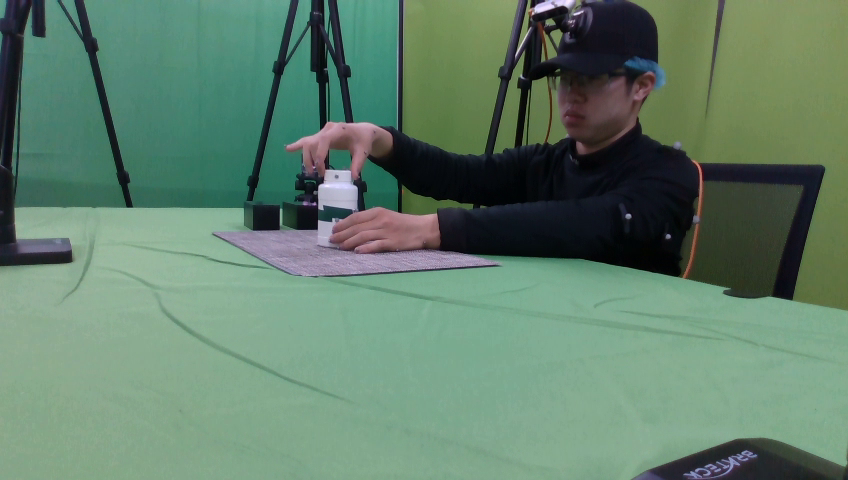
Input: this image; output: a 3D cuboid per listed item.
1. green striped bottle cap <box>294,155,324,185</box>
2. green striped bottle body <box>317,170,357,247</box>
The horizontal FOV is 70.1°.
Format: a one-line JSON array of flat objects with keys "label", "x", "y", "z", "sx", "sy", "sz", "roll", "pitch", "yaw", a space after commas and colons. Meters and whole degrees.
[{"label": "green striped bottle cap", "x": -0.177, "y": -0.109, "z": 0.935, "sx": 0.044, "sy": 0.044, "sz": 0.020, "roll": 3, "pitch": 37, "yaw": 3}, {"label": "green striped bottle body", "x": -0.139, "y": -0.051, "z": 0.964, "sx": 0.063, "sy": 0.119, "sz": 0.063, "roll": 2, "pitch": 7, "yaw": 0}]
